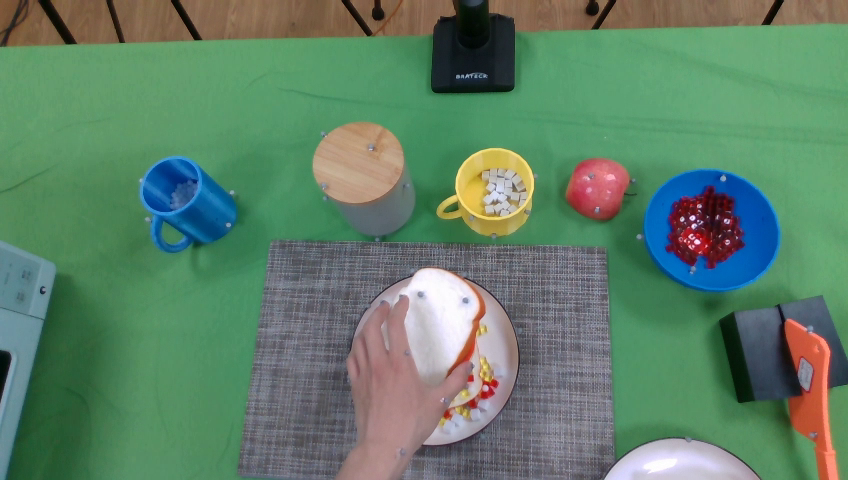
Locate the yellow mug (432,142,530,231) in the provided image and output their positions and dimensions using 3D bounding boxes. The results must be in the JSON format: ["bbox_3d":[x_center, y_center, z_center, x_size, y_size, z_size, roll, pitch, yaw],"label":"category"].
[{"bbox_3d":[0.072,-0.063,0.787,0.131,0.064,0.099,-20,71,0],"label":"yellow mug"}]

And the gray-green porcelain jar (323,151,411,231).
[{"bbox_3d":[-0.073,-0.075,0.774,0.106,0.127,0.105,-2,72,6],"label":"gray-green porcelain jar"}]

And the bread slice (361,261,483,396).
[{"bbox_3d":[0.000,0.088,0.664,0.104,0.019,0.131,30,90,21],"label":"bread slice"}]

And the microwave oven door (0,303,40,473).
[{"bbox_3d":[-0.553,0.228,0.649,0.039,0.245,0.353,1,72,7],"label":"microwave oven door"}]

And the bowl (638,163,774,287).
[{"bbox_3d":[0.330,-0.009,0.735,0.151,0.077,0.150,-2,72,6],"label":"bowl"}]

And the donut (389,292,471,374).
[{"bbox_3d":[0.007,0.111,0.720,0.099,0.048,0.098,-2,73,6],"label":"donut"}]

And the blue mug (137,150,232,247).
[{"bbox_3d":[-0.322,-0.045,0.802,0.082,0.106,0.116,22,76,12],"label":"blue mug"}]

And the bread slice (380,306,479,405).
[{"bbox_3d":[0.013,0.132,0.743,0.107,0.018,0.133,-15,73,0],"label":"bread slice"}]

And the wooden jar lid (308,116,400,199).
[{"bbox_3d":[-0.081,-0.095,0.714,0.108,0.021,0.107,-1,70,3],"label":"wooden jar lid"}]

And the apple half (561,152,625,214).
[{"bbox_3d":[0.220,-0.080,0.783,0.074,0.054,0.080,23,77,15],"label":"apple half"}]

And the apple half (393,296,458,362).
[{"bbox_3d":[0.001,0.098,0.687,0.081,0.033,0.080,-4,69,10],"label":"apple half"}]

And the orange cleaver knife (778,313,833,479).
[{"bbox_3d":[0.416,0.186,0.662,0.012,0.077,0.211,-9,93,-3],"label":"orange cleaver knife"}]

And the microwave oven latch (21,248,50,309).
[{"bbox_3d":[-0.527,0.051,0.809,0.030,0.030,0.078,4,74,7],"label":"microwave oven latch"}]

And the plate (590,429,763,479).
[{"bbox_3d":[0.276,0.314,0.660,0.209,0.038,0.208,-2,72,6],"label":"plate"}]

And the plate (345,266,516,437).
[{"bbox_3d":[0.008,0.134,0.742,0.207,0.039,0.206,-2,73,6],"label":"plate"}]

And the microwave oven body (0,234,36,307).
[{"bbox_3d":[-0.695,0.186,0.683,0.326,0.262,0.439,2,73,6],"label":"microwave oven body"}]
